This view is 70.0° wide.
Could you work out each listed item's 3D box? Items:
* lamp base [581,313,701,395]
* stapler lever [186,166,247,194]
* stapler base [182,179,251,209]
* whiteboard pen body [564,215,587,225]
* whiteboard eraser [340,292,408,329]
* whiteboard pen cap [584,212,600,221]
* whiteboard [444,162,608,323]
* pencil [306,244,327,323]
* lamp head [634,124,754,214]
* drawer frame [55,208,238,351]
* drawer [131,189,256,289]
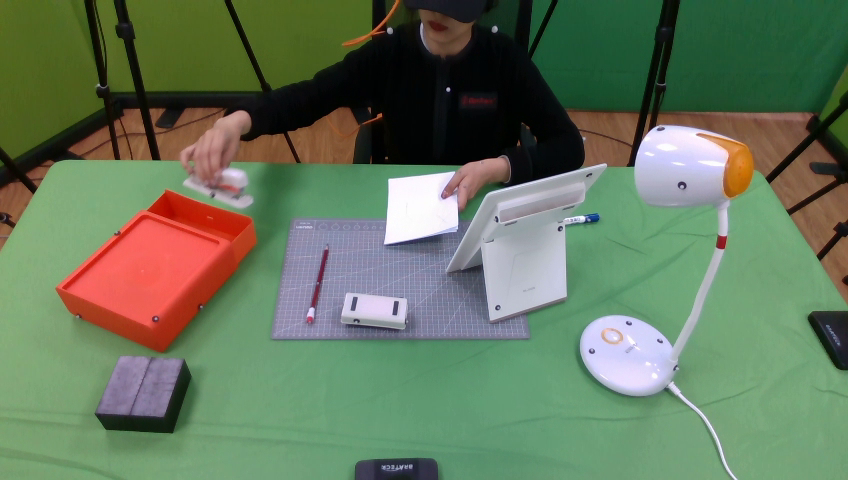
[{"bbox_3d":[0.361,0.144,0.973,0.178,0.181,0.160,34,53,23],"label":"lamp base"},{"bbox_3d":[-0.374,-0.115,1.093,0.118,0.040,0.027,19,29,14],"label":"stapler lever"},{"bbox_3d":[-0.377,-0.092,1.106,0.130,0.024,0.041,21,29,13],"label":"stapler base"},{"bbox_3d":[0.291,-0.040,1.261,0.141,0.017,0.017,-6,47,-11],"label":"whiteboard pen body"},{"bbox_3d":[-0.087,0.125,1.052,0.113,0.042,0.055,5,45,1],"label":"whiteboard eraser"},{"bbox_3d":[0.351,-0.048,1.271,0.033,0.018,0.018,-6,47,-11],"label":"whiteboard pen cap"},{"bbox_3d":[0.186,0.026,1.028,0.217,0.306,0.143,-14,68,-17],"label":"whiteboard"},{"bbox_3d":[-0.196,0.076,1.115,0.012,0.012,0.193,4,44,0],"label":"pencil"},{"bbox_3d":[0.351,-0.089,0.775,0.112,0.113,0.122,-30,30,-28],"label":"lamp head"},{"bbox_3d":[-0.474,0.062,1.059,0.201,0.083,0.213,19,48,13],"label":"drawer frame"},{"bbox_3d":[-0.450,0.019,1.106,0.194,0.073,0.211,19,48,12],"label":"drawer"}]
